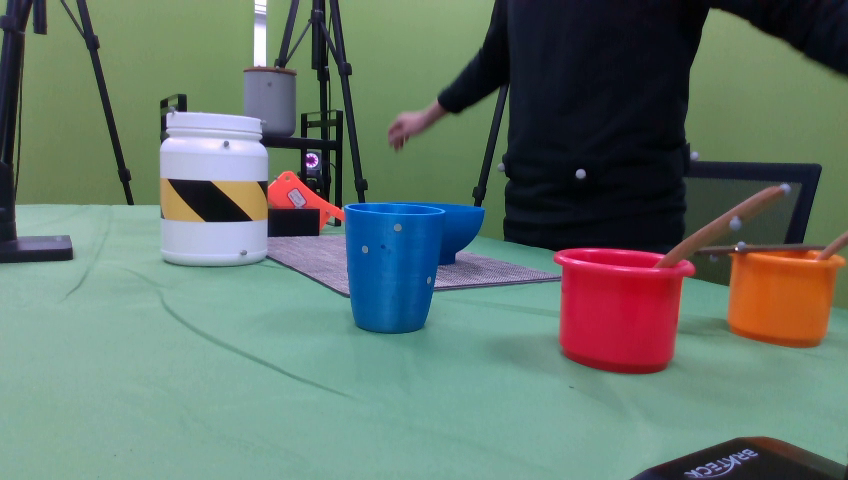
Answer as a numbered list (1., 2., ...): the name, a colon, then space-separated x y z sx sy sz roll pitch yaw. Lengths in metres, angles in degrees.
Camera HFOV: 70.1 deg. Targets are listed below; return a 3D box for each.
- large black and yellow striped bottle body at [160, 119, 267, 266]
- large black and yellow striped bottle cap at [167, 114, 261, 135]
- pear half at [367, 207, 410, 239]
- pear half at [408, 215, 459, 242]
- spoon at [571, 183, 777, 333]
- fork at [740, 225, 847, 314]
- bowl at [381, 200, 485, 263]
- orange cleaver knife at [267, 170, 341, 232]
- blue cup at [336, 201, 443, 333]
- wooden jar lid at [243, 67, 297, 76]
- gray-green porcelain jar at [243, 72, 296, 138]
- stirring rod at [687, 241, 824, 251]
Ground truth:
1. large black and yellow striped bottle body: -0.272 -0.065 0.789 0.131 0.184 0.130 2 7 0
2. large black and yellow striped bottle cap: -0.269 -0.148 0.779 0.115 0.019 0.115 4 8 0
3. pear half: -0.067 -0.027 1.057 0.076 0.056 0.110 -1 9 19
4. pear half: 0.011 -0.019 0.848 0.070 0.031 0.088 5 12 32
5. spoon: 0.161 0.020 0.413 0.042 0.021 0.193 1 -36 -24
6. fork: 0.323 0.013 0.485 0.028 0.018 0.207 8 -37 -6
7. bowl: 0.008 -0.012 0.842 0.151 0.077 0.151 2 8 0
8. orange cleaver knife: -0.201 -0.056 1.136 0.212 0.077 0.012 31 -4 -31
9. blue cup: -0.029 0.021 0.508 0.093 0.100 0.092 3 9 0
10. wooden jar lid: -0.319 -0.342 1.254 0.108 0.020 0.108 3 8 0
11. gray-green porcelain jar: -0.322 -0.279 1.263 0.106 0.126 0.106 3 8 0
12. stirring rod: 0.290 0.005 0.525 0.177 0.006 0.014 -1 5 -26
